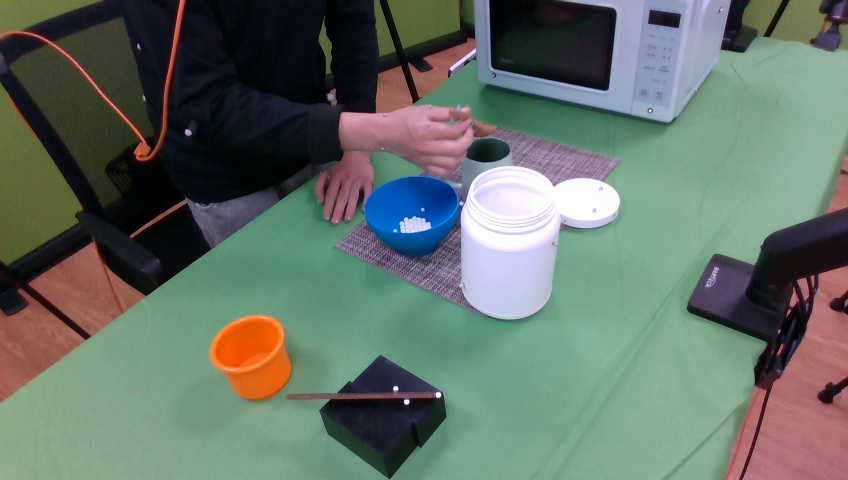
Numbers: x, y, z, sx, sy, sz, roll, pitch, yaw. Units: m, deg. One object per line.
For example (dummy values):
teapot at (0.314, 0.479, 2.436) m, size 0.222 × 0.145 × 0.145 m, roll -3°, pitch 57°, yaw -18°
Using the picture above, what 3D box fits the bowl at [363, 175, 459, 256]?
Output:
bowl at (-0.016, -0.028, 0.955) m, size 0.151 × 0.077 × 0.150 m, roll -4°, pitch 40°, yaw 4°

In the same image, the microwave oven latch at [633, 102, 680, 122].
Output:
microwave oven latch at (0.444, -0.249, 1.157) m, size 0.078 × 0.029 × 0.030 m, roll 21°, pitch 49°, yaw 30°

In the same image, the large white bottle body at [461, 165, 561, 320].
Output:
large white bottle body at (0.115, 0.004, 0.816) m, size 0.130 × 0.185 × 0.130 m, roll -2°, pitch 43°, yaw 2°

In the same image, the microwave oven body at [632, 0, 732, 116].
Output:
microwave oven body at (0.377, -0.462, 1.267) m, size 0.438 × 0.261 × 0.327 m, roll 21°, pitch 48°, yaw 30°

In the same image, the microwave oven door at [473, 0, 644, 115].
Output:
microwave oven door at (0.257, -0.396, 1.199) m, size 0.353 × 0.245 × 0.039 m, roll 21°, pitch 48°, yaw 29°

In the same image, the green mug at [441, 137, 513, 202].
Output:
green mug at (0.091, -0.108, 1.012) m, size 0.125 × 0.105 × 0.092 m, roll 2°, pitch 42°, yaw 11°

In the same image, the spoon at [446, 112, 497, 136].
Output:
spoon at (0.064, -0.166, 0.854) m, size 0.041 × 0.021 × 0.195 m, roll -6°, pitch -1°, yaw 22°

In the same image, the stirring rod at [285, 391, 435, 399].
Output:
stirring rod at (-0.075, 0.180, 0.698) m, size 0.176 × 0.006 × 0.014 m, roll -2°, pitch 6°, yaw 7°

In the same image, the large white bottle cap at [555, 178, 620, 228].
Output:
large white bottle cap at (0.265, -0.063, 1.001) m, size 0.115 × 0.018 × 0.114 m, roll -3°, pitch 41°, yaw 3°
